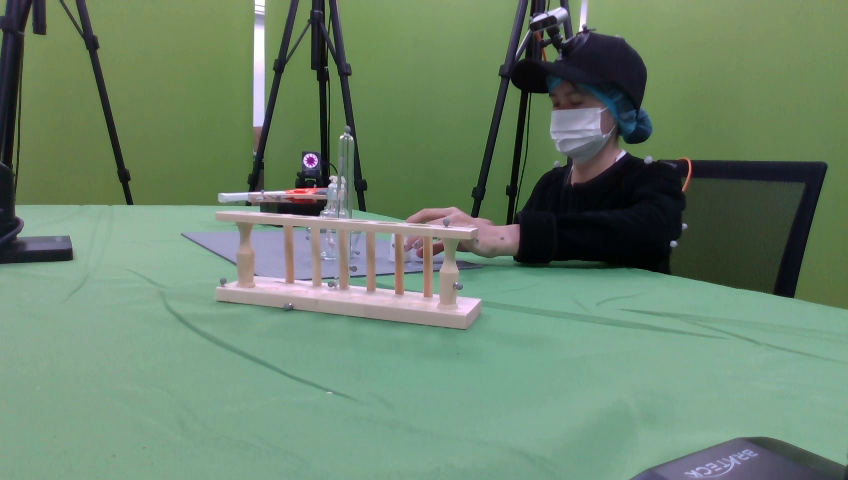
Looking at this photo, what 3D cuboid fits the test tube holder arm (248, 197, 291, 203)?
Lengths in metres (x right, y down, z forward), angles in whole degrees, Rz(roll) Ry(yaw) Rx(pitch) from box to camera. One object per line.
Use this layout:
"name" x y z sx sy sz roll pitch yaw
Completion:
"test tube holder arm" -0.303 -0.080 1.191 0.088 0.010 0.015 -7 18 -40

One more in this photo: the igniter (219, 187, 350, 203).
"igniter" -0.285 -0.095 1.268 0.278 0.025 0.057 -6 11 -34

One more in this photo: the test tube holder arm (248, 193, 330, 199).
"test tube holder arm" -0.268 -0.089 1.218 0.179 0.013 0.015 -6 17 -40

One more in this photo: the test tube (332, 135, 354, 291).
"test tube" -0.078 -0.025 0.581 0.017 0.150 0.017 3 7 0

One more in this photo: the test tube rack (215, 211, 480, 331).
"test tube rack" -0.071 0.022 0.565 0.242 0.085 0.067 5 7 16

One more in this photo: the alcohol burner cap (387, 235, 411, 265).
"alcohol burner cap" -0.035 0.009 0.840 0.034 0.048 0.034 2 6 0

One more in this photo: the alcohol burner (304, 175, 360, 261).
"alcohol burner" -0.126 -0.031 0.838 0.078 0.119 0.078 3 5 0
